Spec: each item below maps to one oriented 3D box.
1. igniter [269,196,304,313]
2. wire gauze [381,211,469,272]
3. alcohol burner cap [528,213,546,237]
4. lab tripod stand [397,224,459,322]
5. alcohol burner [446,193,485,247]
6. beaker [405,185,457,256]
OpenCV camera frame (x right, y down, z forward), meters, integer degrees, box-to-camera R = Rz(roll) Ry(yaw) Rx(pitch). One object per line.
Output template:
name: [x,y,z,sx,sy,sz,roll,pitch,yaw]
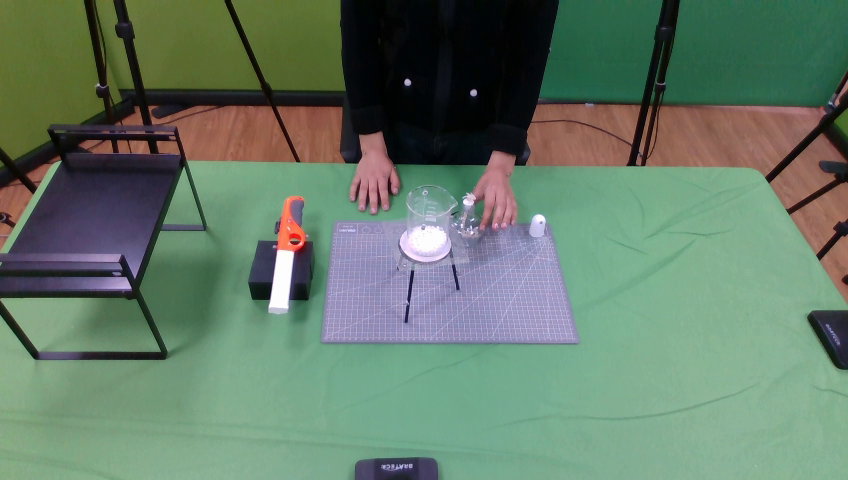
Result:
igniter: [-0.249,0.016,1.095,0.057,0.025,0.274,8,46,-13]
wire gauze: [0.000,0.001,1.024,0.125,0.011,0.120,-11,48,-12]
alcohol burner cap: [0.231,-0.033,1.230,0.034,0.048,0.033,3,48,-3]
lab tripod stand: [-0.003,0.052,1.067,0.148,0.132,0.147,3,48,-3]
alcohol burner: [0.082,-0.044,1.179,0.078,0.120,0.077,2,44,-1]
beaker: [0.009,-0.029,0.988,0.084,0.101,0.073,-1,47,-5]
